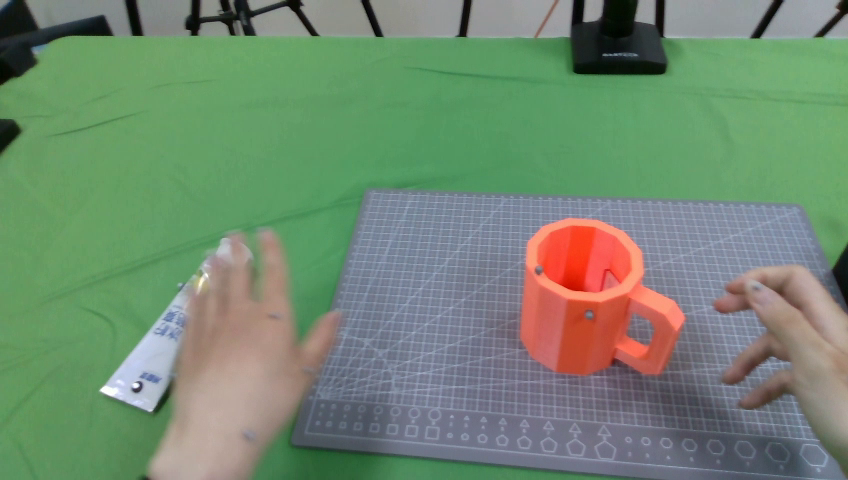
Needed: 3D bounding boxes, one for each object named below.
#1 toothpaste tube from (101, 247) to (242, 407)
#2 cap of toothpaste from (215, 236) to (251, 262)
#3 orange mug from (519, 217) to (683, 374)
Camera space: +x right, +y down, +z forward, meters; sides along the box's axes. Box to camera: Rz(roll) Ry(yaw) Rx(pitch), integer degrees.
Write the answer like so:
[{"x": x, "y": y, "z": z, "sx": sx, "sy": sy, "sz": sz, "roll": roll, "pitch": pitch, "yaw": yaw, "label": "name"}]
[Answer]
[{"x": -0.216, "y": 0.068, "z": 0.541, "sx": 0.055, "sy": 0.035, "sz": 0.164, "roll": 11, "pitch": 52, "yaw": 21, "label": "toothpaste tube"}, {"x": -0.185, "y": 0.011, "z": 0.585, "sx": 0.037, "sy": 0.038, "sz": 0.011, "roll": 13, "pitch": 52, "yaw": 17, "label": "cap of toothpaste"}, {"x": 0.135, "y": 0.052, "z": 0.476, "sx": 0.125, "sy": 0.102, "sz": 0.083, "roll": 26, "pitch": 53, "yaw": 32, "label": "orange mug"}]
